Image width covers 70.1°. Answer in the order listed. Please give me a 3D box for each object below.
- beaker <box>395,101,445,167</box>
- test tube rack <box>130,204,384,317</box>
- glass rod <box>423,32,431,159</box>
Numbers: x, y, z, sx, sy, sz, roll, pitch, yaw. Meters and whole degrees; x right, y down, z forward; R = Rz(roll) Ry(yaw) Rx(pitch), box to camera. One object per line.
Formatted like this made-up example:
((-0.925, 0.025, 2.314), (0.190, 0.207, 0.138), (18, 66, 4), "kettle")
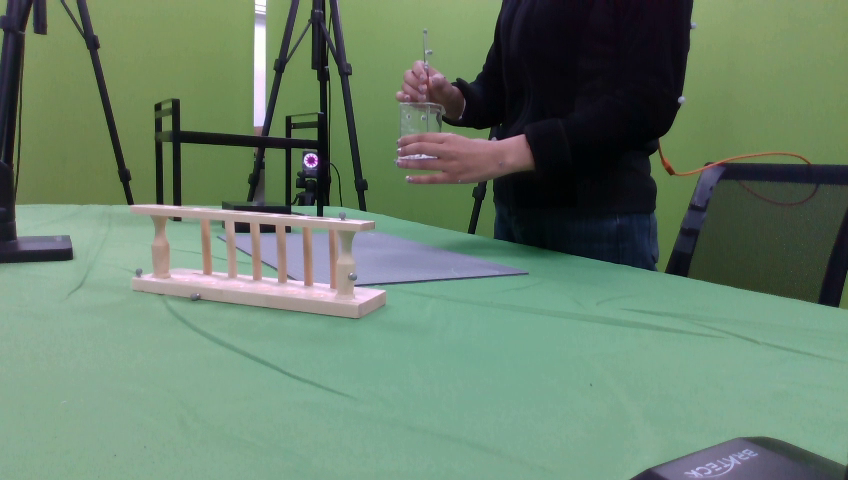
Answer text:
((-0.006, -0.167, 0.963), (0.084, 0.100, 0.073), (-1, 7, -26), "beaker")
((-0.163, 0.013, 0.589), (0.242, 0.085, 0.067), (5, 8, 17), "test tube rack")
((0.005, -0.229, 0.964), (0.008, 0.199, 0.008), (-2, 5, 1), "glass rod")
